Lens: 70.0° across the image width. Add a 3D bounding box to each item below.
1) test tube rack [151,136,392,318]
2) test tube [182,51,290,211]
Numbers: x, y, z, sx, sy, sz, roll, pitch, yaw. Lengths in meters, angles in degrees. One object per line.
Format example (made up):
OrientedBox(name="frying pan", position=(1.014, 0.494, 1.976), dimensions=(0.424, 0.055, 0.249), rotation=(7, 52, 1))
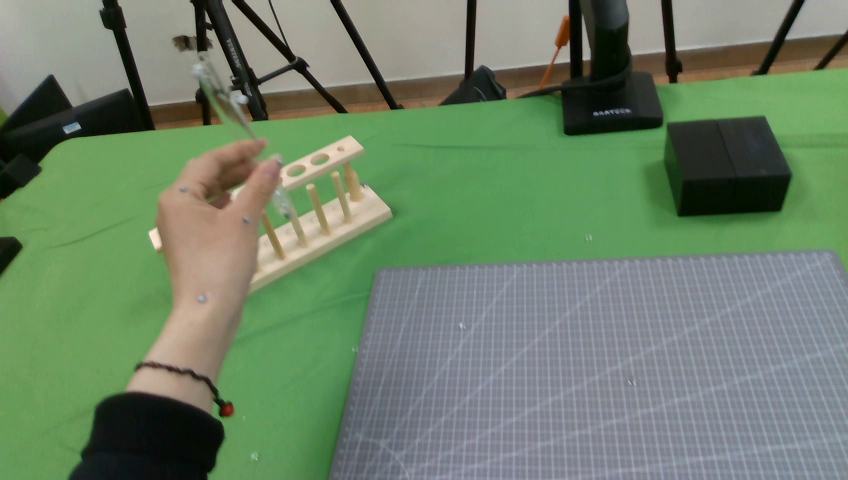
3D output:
OrientedBox(name="test tube rack", position=(-0.163, -0.018, 0.676), dimensions=(0.242, 0.086, 0.066), rotation=(-29, 46, -16))
OrientedBox(name="test tube", position=(-0.136, -0.075, 0.456), dimensions=(0.017, 0.152, 0.017), rotation=(-9, 49, 11))
